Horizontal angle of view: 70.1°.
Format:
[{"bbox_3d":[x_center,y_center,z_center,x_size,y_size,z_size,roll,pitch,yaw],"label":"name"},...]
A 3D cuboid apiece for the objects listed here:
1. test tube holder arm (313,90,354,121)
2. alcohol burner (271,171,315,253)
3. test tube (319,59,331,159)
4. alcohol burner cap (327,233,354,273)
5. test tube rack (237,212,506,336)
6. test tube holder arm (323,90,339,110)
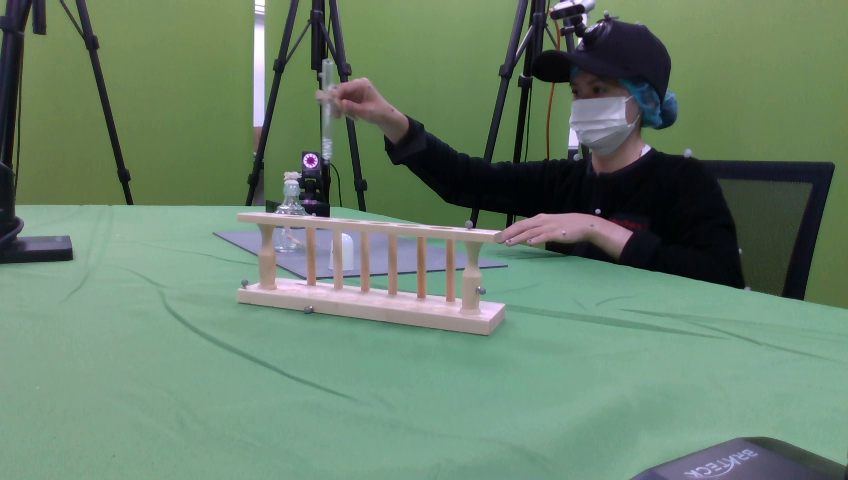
[{"bbox_3d":[-0.142,-0.215,0.972,0.013,0.015,0.178,4,1,9],"label":"test tube holder arm"},{"bbox_3d":[-0.196,-0.041,0.884,0.078,0.119,0.078,3,5,0],"label":"alcohol burner"},{"bbox_3d":[-0.148,-0.195,0.903,0.017,0.150,0.017,0,-3,0],"label":"test tube"},{"bbox_3d":[-0.104,0.015,0.751,0.034,0.048,0.034,3,6,0],"label":"alcohol burner cap"},{"bbox_3d":[-0.049,0.024,0.552,0.242,0.085,0.067,5,8,18],"label":"test tube rack"},{"bbox_3d":[-0.142,-0.214,0.927,0.010,0.015,0.088,3,1,2],"label":"test tube holder arm"}]
